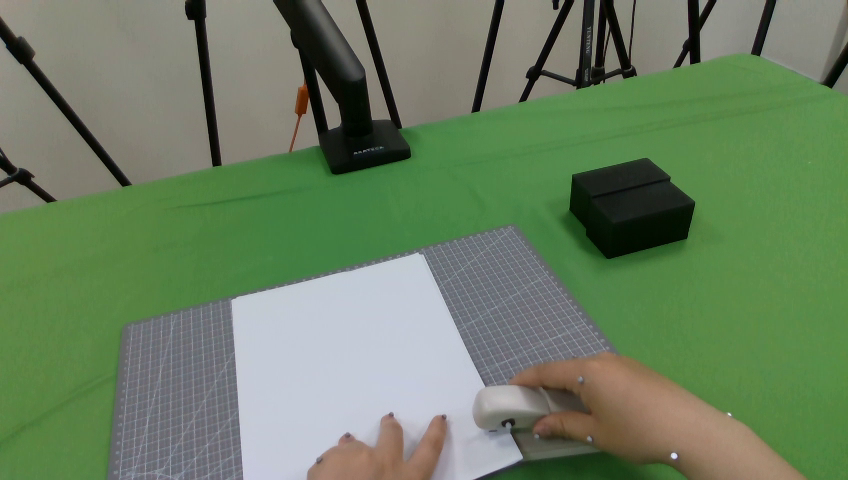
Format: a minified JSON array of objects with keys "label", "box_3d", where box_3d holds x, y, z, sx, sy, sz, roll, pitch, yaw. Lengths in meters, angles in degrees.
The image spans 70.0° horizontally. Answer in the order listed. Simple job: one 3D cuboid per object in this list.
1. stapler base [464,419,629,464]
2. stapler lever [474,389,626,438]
[{"label":"stapler base","box_3d":[0.098,0.150,0.489,0.131,0.024,0.041,-5,40,-4]},{"label":"stapler lever","box_3d":[0.098,0.133,0.475,0.118,0.040,0.026,-8,41,-2]}]
